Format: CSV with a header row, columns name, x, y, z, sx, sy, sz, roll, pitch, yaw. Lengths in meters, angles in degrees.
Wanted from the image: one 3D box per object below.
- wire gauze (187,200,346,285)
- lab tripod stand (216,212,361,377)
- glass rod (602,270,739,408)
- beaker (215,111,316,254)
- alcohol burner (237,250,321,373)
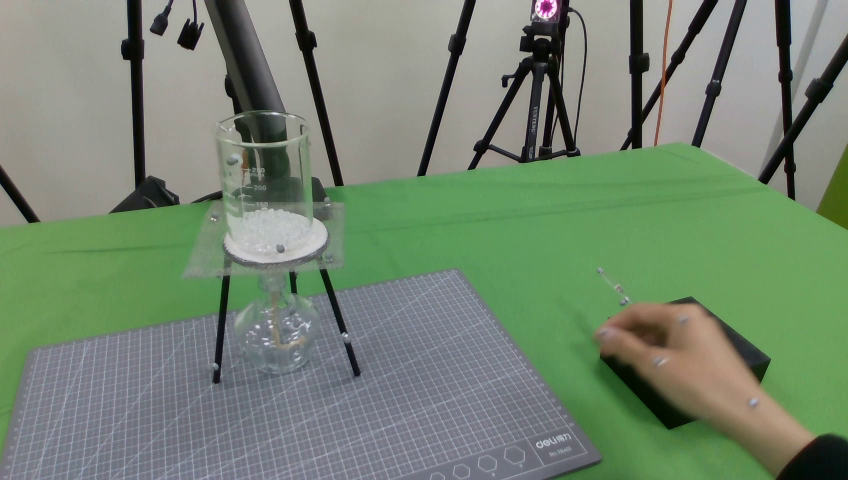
name,x,y,z,sx,sy,sz,roll,pitch,yaw
wire gauze,-0.128,-0.004,0.520,0.122,0.011,0.124,-2,34,-6
lab tripod stand,-0.124,0.052,0.555,0.148,0.132,0.147,3,30,-1
glass rod,0.218,0.083,0.559,0.008,0.008,0.197,-8,33,-16
beaker,-0.129,-0.046,0.496,0.083,0.101,0.074,18,34,22
alcohol burner,-0.135,0.062,0.557,0.078,0.120,0.077,0,30,0
